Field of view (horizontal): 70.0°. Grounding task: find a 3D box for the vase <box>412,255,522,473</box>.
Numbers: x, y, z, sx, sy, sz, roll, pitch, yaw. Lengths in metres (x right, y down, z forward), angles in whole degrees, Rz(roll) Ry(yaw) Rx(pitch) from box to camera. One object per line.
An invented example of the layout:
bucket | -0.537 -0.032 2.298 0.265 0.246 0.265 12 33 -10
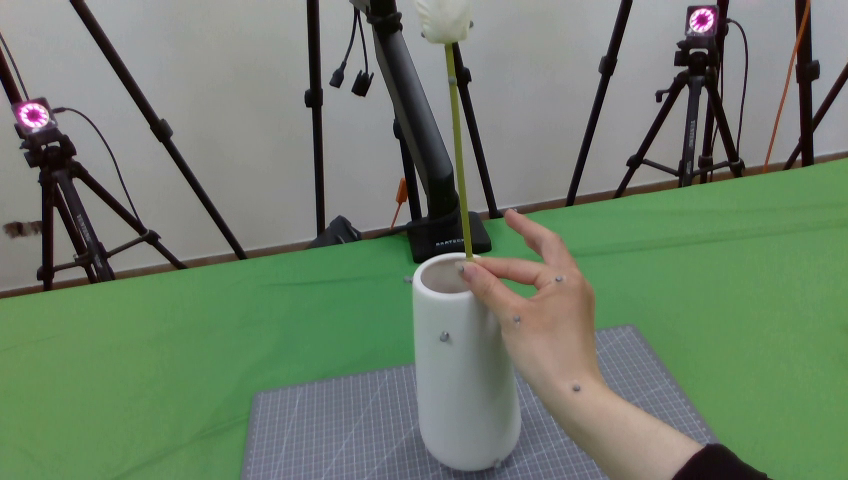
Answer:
vase | 0.036 0.114 0.547 0.098 0.201 0.097 -6 29 4

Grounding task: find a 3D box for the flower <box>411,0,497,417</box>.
flower | 0.033 -0.021 0.458 0.038 0.363 0.043 -14 19 -15
